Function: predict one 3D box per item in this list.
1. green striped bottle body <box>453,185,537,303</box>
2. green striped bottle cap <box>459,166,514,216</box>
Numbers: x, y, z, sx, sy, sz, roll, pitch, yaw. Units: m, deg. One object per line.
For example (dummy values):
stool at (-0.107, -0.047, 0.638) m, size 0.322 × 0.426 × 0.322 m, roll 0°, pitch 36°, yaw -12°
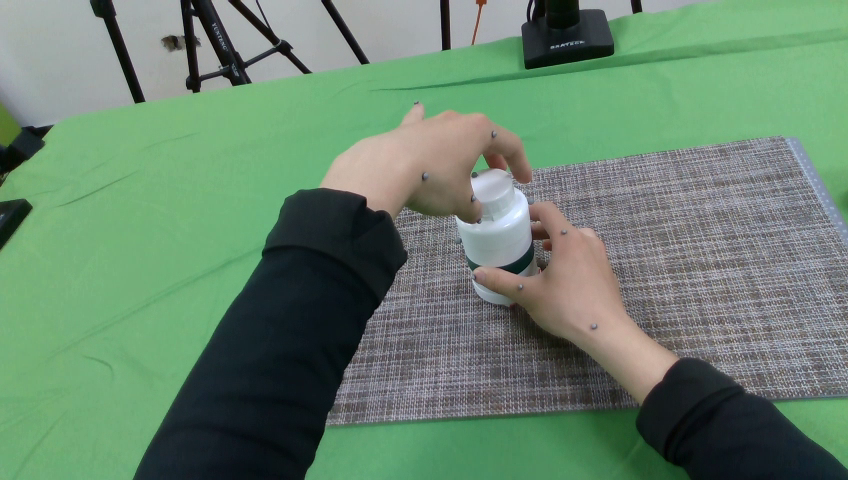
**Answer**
green striped bottle body at (0.063, -0.004, 0.533) m, size 0.063 × 0.120 × 0.062 m, roll -9°, pitch 44°, yaw 10°
green striped bottle cap at (0.051, -0.041, 0.497) m, size 0.044 × 0.020 × 0.044 m, roll -8°, pitch 46°, yaw 9°
